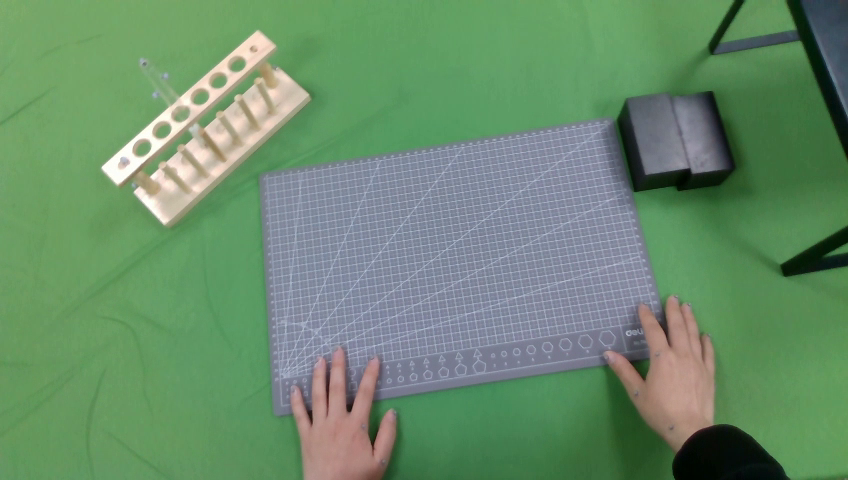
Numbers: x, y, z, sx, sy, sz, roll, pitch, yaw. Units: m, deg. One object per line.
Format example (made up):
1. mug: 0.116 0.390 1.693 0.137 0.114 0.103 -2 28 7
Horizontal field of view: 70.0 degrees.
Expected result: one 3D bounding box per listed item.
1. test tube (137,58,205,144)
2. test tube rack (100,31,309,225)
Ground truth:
1. test tube: -0.286 -0.155 0.699 0.017 0.151 0.017 -2 67 5
2. test tube rack: -0.261 -0.135 0.743 0.066 0.086 0.242 42 80 15
